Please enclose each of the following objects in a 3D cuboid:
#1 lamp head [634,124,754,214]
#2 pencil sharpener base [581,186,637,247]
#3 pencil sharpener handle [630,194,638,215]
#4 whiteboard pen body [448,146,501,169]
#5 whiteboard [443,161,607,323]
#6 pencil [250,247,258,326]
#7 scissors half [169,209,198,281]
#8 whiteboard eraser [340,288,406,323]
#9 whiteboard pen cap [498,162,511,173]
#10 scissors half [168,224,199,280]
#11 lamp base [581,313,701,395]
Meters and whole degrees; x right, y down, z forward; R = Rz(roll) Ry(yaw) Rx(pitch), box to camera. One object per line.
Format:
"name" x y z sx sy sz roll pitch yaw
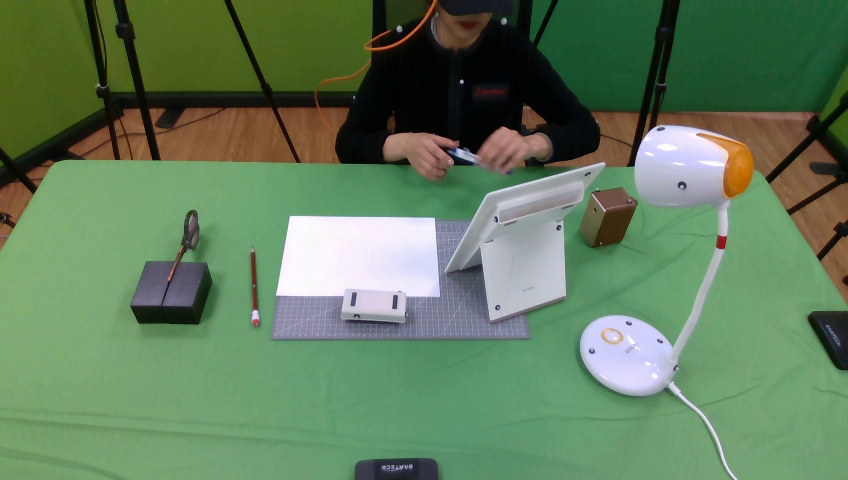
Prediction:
"lamp head" 0.351 -0.089 0.775 0.112 0.113 0.122 -30 30 -28
"pencil sharpener base" 0.369 -0.047 1.209 0.077 0.107 0.061 -11 47 -15
"pencil sharpener handle" 0.417 -0.068 1.215 0.031 0.068 0.036 -11 60 -15
"whiteboard pen body" 0.112 -0.164 1.232 0.141 0.017 0.017 16 41 -25
"whiteboard" 0.185 0.025 1.029 0.217 0.306 0.143 -15 68 -18
"pencil" -0.312 0.079 1.107 0.012 0.012 0.192 -7 46 -11
"scissors half" -0.438 0.007 1.099 0.013 0.040 0.174 4 48 -5
"whiteboard eraser" -0.088 0.117 1.060 0.113 0.042 0.055 3 45 -1
"whiteboard pen cap" 0.164 -0.151 1.261 0.033 0.018 0.018 16 40 -27
"scissors half" -0.441 0.023 1.111 0.013 0.040 0.174 9 29 -8
"lamp base" 0.361 0.144 0.972 0.178 0.181 0.160 34 53 23
